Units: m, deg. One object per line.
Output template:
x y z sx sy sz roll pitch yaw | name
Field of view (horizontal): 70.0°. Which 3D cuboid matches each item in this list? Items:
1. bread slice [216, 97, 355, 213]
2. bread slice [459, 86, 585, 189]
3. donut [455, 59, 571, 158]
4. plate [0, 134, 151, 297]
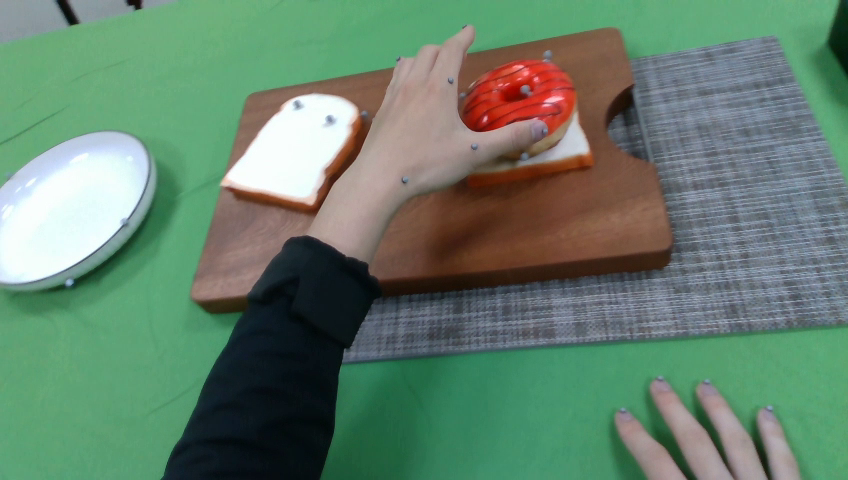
-0.128 -0.086 0.589 0.106 0.018 0.133 10 60 22 | bread slice
0.079 -0.107 0.542 0.105 0.019 0.130 -10 55 8 | bread slice
0.074 -0.111 0.510 0.099 0.049 0.098 -10 54 14 | donut
-0.383 -0.026 0.645 0.209 0.038 0.207 -8 54 11 | plate
